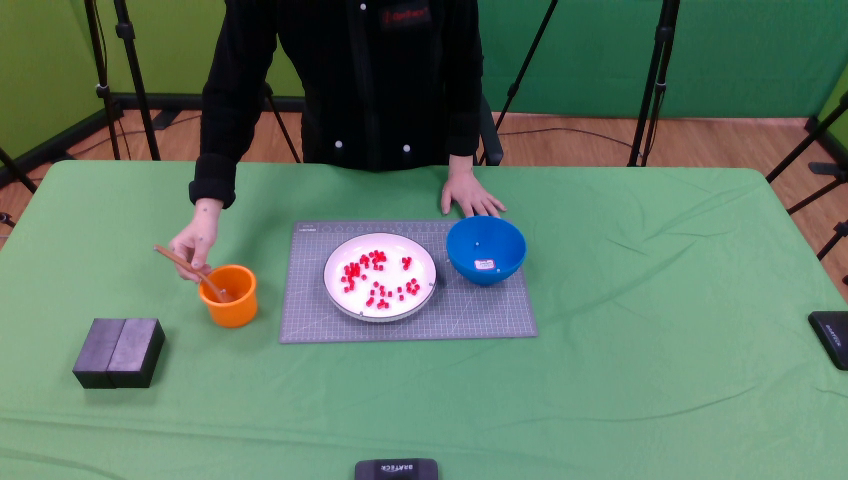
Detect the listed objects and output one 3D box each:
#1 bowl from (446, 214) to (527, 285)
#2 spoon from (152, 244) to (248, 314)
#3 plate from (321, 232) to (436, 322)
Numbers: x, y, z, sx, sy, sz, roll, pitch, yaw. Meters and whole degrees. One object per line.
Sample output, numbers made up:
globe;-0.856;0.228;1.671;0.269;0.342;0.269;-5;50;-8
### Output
bowl;0.112;0.031;1.134;0.151;0.077;0.150;2;46;-2
spoon;-0.369;0.065;1.007;0.021;0.195;0.041;-35;33;9
plate;-0.083;0.070;1.109;0.209;0.038;0.208;3;46;-3
